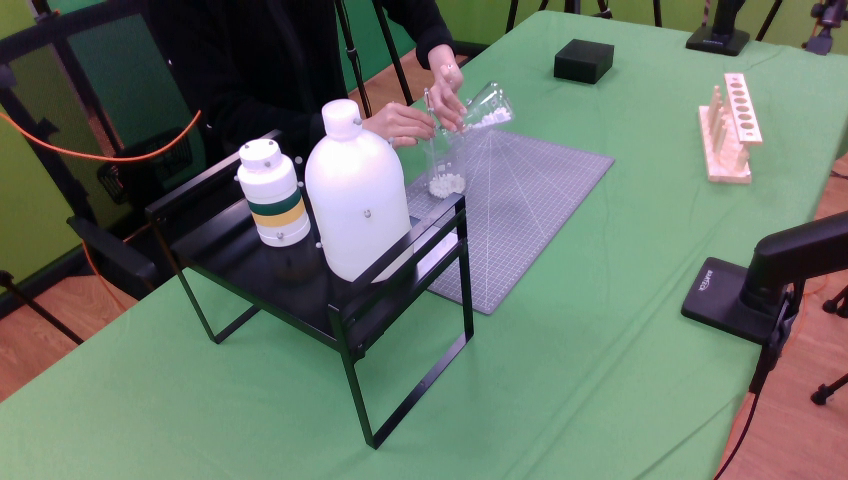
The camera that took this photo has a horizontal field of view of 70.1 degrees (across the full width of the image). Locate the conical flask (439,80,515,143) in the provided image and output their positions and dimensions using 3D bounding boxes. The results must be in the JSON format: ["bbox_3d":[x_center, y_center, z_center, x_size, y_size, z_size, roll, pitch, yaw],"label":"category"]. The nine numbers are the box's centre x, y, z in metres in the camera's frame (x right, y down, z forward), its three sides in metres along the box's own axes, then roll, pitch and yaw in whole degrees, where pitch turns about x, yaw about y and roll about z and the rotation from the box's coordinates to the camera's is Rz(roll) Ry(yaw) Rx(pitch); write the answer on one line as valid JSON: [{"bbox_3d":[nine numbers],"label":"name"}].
[{"bbox_3d":[0.086,-0.208,1.017,0.122,0.076,0.075,-30,41,8],"label":"conical flask"}]

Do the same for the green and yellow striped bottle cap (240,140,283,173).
[{"bbox_3d":[-0.183,-0.094,0.679,0.045,0.020,0.045,-4,38,4],"label":"green and yellow striped bottle cap"}]

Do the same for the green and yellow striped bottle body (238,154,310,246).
[{"bbox_3d":[-0.178,-0.056,0.714,0.063,0.120,0.063,-4,40,4],"label":"green and yellow striped bottle body"}]

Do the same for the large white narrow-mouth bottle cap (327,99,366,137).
[{"bbox_3d":[-0.075,-0.118,0.582,0.038,0.024,0.037,-3,40,3],"label":"large white narrow-mouth bottle cap"}]

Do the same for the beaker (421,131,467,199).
[{"bbox_3d":[0.040,-0.130,1.060,0.084,0.100,0.073,-24,43,-20],"label":"beaker"}]

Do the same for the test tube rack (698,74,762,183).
[{"bbox_3d":[0.547,-0.208,1.095,0.066,0.085,0.242,5,42,15],"label":"test tube rack"}]

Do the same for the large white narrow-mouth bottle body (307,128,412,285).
[{"bbox_3d":[-0.070,-0.051,0.638,0.102,0.195,0.101,-3,40,3],"label":"large white narrow-mouth bottle body"}]

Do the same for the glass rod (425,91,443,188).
[{"bbox_3d":[0.018,-0.162,1.011,0.008,0.201,0.008,-5,46,6],"label":"glass rod"}]
